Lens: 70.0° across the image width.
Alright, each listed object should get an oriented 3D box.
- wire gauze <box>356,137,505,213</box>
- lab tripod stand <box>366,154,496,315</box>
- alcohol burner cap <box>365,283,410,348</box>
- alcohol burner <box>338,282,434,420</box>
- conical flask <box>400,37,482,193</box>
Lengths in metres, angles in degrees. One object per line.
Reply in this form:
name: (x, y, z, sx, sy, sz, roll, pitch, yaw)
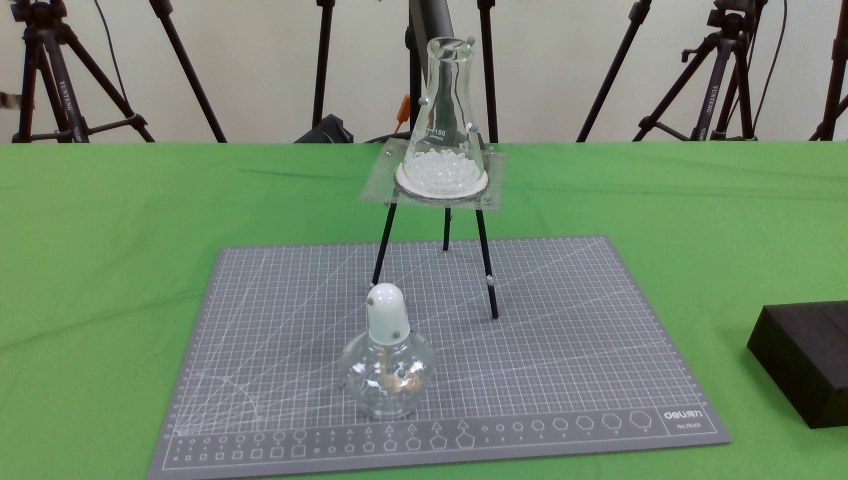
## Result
wire gauze: (0.012, -0.060, 0.557, 0.121, 0.011, 0.124, 7, 37, 6)
lab tripod stand: (0.016, -0.005, 0.594, 0.148, 0.132, 0.147, 3, 34, -2)
alcohol burner cap: (-0.029, 0.054, 0.457, 0.034, 0.048, 0.033, -3, 38, 3)
alcohol burner: (-0.030, 0.083, 0.478, 0.078, 0.120, 0.077, 1, 33, 0)
conical flask: (0.017, -0.107, 0.520, 0.075, 0.123, 0.074, 2, 35, -1)
